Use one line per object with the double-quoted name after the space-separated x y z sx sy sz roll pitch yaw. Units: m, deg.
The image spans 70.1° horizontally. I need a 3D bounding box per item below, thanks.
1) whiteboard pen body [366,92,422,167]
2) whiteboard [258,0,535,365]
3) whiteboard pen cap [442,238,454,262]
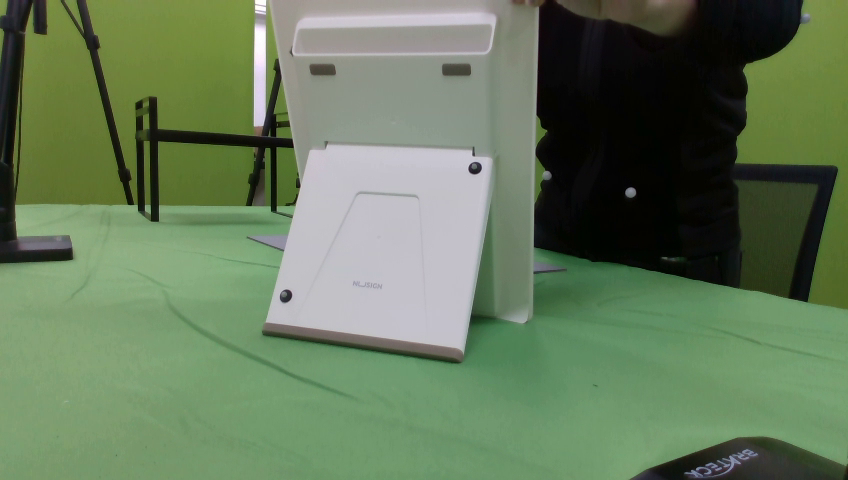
-0.030 -0.110 0.597 0.017 0.017 0.141 5 40 20 "whiteboard pen body"
-0.037 -0.041 0.457 0.216 0.305 0.144 5 27 18 "whiteboard"
0.033 0.014 0.851 0.018 0.033 0.018 3 5 0 "whiteboard pen cap"
